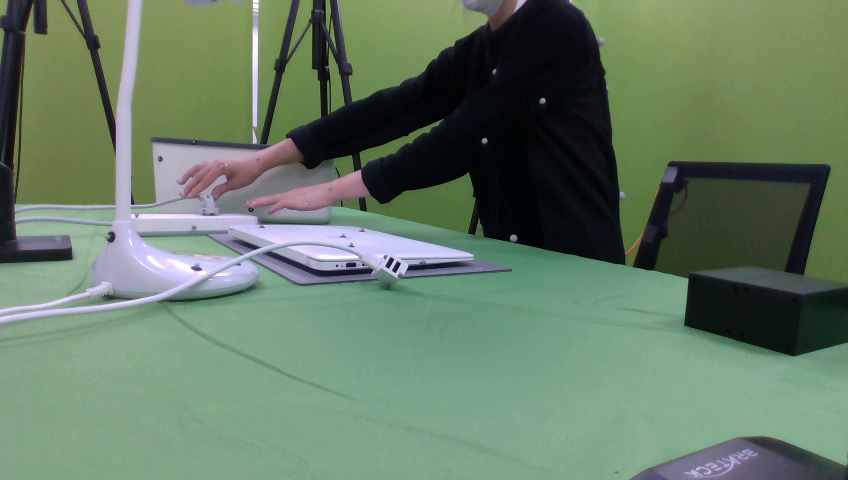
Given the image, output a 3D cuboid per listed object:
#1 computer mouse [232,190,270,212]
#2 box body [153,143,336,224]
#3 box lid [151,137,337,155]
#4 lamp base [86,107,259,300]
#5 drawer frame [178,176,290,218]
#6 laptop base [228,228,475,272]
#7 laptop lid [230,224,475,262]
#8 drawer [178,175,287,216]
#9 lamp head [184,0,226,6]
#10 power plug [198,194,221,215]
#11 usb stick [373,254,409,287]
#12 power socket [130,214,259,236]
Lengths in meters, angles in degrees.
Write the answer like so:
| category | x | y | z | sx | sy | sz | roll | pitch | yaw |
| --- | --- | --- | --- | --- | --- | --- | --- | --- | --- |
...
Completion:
| category | x | y | z | sx | sy | sz | roll | pitch | yaw |
| --- | --- | --- | --- | --- | --- | --- | --- | --- | --- |
| computer mouse | -0.382 | -0.086 | 1.342 | 0.063 | 0.041 | 0.117 | 10 | 10 | -4 |
| box body | -0.380 | -0.130 | 1.344 | 0.365 | 0.160 | 0.253 | 1 | 7 | -9 |
| box lid | -0.379 | -0.203 | 1.334 | 0.372 | 0.015 | 0.262 | 2 | 7 | -9 |
| lamp base | -0.254 | -0.039 | 0.603 | 0.160 | 0.180 | 0.179 | 5 | 10 | 18 |
| drawer frame | -0.409 | -0.099 | 1.340 | 0.214 | 0.082 | 0.201 | -4 | 7 | -10 |
| laptop base | -0.122 | 0.011 | 0.889 | 0.237 | 0.023 | 0.352 | 2 | 6 | -35 |
| laptop lid | -0.119 | 0.000 | 0.888 | 0.243 | 0.013 | 0.355 | 1 | 7 | -33 |
| drawer | -0.414 | -0.104 | 1.341 | 0.212 | 0.073 | 0.194 | 5 | 6 | -11 |
| lamp head | -0.229 | -0.320 | 0.627 | 0.112 | 0.112 | 0.123 | 6 | -35 | 26 |
| power plug | -0.386 | -0.055 | 1.088 | 0.035 | 0.052 | 0.072 | -1 | 7 | -24 |
| usb stick | -0.039 | 0.035 | 0.663 | 0.027 | 0.021 | 0.059 | 28 | -22 | -7 |
| power socket | -0.397 | -0.028 | 1.048 | 0.228 | 0.032 | 0.072 | -3 | 8 | -34 |
